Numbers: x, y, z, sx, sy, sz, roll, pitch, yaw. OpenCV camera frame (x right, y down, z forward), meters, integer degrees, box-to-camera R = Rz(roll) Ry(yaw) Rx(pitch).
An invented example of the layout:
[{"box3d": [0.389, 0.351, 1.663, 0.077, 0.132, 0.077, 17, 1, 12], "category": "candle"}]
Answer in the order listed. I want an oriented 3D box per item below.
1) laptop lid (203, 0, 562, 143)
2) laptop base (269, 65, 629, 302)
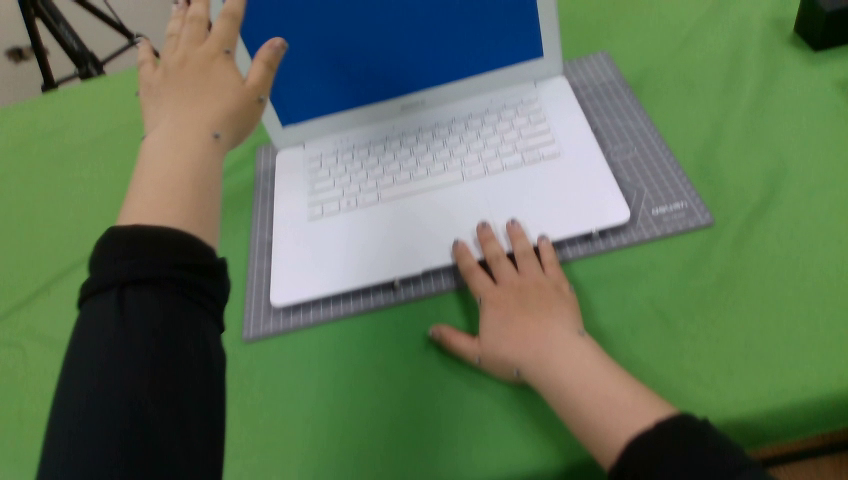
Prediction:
[{"box3d": [-0.038, -0.240, 0.641, 0.356, 0.244, 0.013, -15, 41, 6], "category": "laptop lid"}, {"box3d": [0.007, -0.067, 0.643, 0.354, 0.023, 0.233, -14, 53, 5], "category": "laptop base"}]
